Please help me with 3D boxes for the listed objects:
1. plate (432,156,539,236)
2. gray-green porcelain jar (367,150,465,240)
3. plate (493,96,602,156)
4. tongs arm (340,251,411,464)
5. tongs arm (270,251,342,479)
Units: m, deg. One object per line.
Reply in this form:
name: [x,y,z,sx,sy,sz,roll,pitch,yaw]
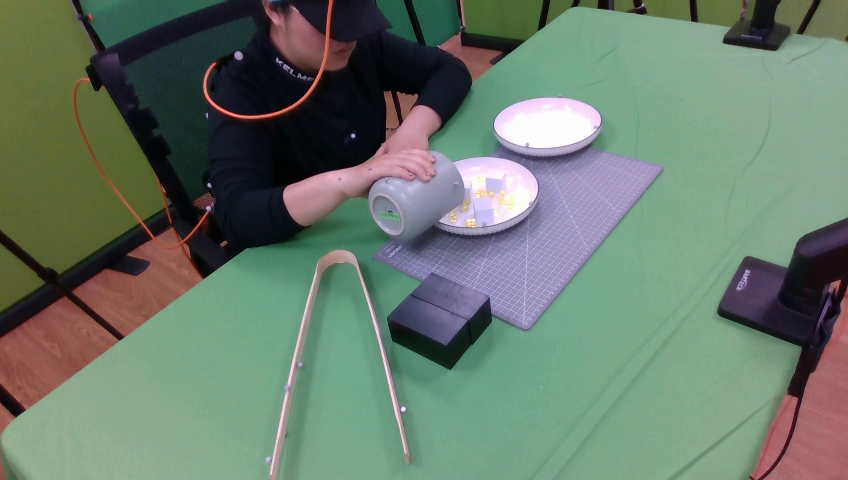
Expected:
plate: [0.091,-0.072,1.034,0.207,0.039,0.206,-5,40,5]
gray-green porcelain jar: [-0.015,-0.067,0.935,0.105,0.106,0.127,24,44,33]
plate: [0.239,-0.218,1.180,0.209,0.038,0.208,-5,39,4]
tongs arm: [-0.070,0.136,0.830,0.028,0.028,0.384,-18,40,-6]
tongs arm: [-0.152,0.148,0.826,0.051,0.026,0.382,-6,39,3]
